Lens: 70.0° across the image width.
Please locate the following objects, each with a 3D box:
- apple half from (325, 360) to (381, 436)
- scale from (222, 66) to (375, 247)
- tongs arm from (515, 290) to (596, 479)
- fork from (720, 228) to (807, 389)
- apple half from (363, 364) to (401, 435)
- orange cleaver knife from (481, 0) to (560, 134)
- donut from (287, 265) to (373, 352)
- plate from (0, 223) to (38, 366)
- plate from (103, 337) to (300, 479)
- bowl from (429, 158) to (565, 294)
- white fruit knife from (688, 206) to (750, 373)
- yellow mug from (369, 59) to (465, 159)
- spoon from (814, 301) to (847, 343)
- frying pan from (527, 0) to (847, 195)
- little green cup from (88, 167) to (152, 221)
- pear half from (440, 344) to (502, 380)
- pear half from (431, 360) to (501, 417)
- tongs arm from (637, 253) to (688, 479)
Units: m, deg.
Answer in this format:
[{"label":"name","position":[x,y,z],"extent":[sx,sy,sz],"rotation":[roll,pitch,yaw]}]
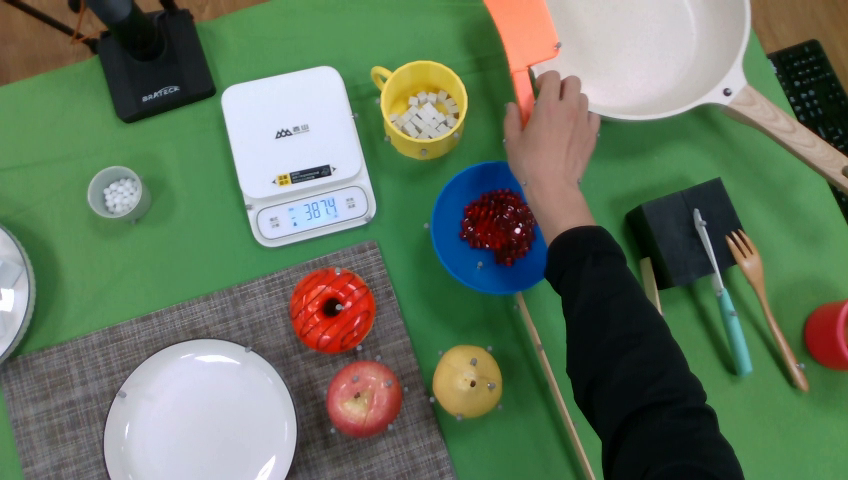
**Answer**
[{"label":"apple half","position":[-0.079,0.167,0.658],"extent":[0.053,0.075,0.080],"rotation":[14,83,4]},{"label":"scale","position":[-0.151,-0.102,0.726],"extent":[0.149,0.031,0.200],"rotation":[-15,82,-4]},{"label":"tongs arm","position":[0.190,0.226,0.680],"extent":[0.051,0.026,0.383],"rotation":[-18,82,-10]},{"label":"fork","position":[0.393,0.080,0.695],"extent":[0.028,0.018,0.208],"rotation":[-29,97,-8]},{"label":"apple half","position":[-0.041,0.175,0.656],"extent":[0.033,0.081,0.081],"rotation":[14,80,4]},{"label":"orange cleaver knife","position":[0.116,-0.227,0.700],"extent":[0.077,0.012,0.210],"rotation":[-14,82,-1]},{"label":"donut","position":[-0.106,0.077,0.686],"extent":[0.099,0.048,0.098],"rotation":[0,81,0]},{"label":"plate","position":[-0.537,0.068,0.683],"extent":[0.208,0.039,0.207],"rotation":[0,80,-2]},{"label":"plate","position":[-0.238,0.211,0.663],"extent":[0.209,0.038,0.208],"rotation":[0,80,-2]},{"label":"bowl","position":[0.079,-0.010,0.694],"extent":[0.151,0.077,0.151],"rotation":[0,81,-2]},{"label":"white fruit knife","position":[0.334,0.059,0.689],"extent":[0.016,0.027,0.208],"rotation":[-21,96,-4]},{"label":"yellow mug","position":[-0.014,-0.164,0.723],"extent":[0.130,0.064,0.100],"rotation":[38,82,6]},{"label":"spoon","position":[0.503,0.132,0.648],"extent":[0.041,0.022,0.191],"rotation":[-24,38,-5]},{"label":"frying pan","position":[0.315,-0.208,0.721],"extent":[0.485,0.103,0.306],"rotation":[43,83,13]},{"label":"little green cup","position":[-0.352,-0.051,0.708],"extent":[0.061,0.039,0.061],"rotation":[0,80,-1]},{"label":"pear half","position":[0.053,0.131,0.663],"extent":[0.070,0.088,0.031],"rotation":[11,80,3]},{"label":"pear half","position":[0.043,0.162,0.647],"extent":[0.076,0.110,0.056],"rotation":[13,80,5]},{"label":"tongs arm","position":[0.273,0.207,0.690],"extent":[0.028,0.028,0.386],"rotation":[-3,81,-10]}]
